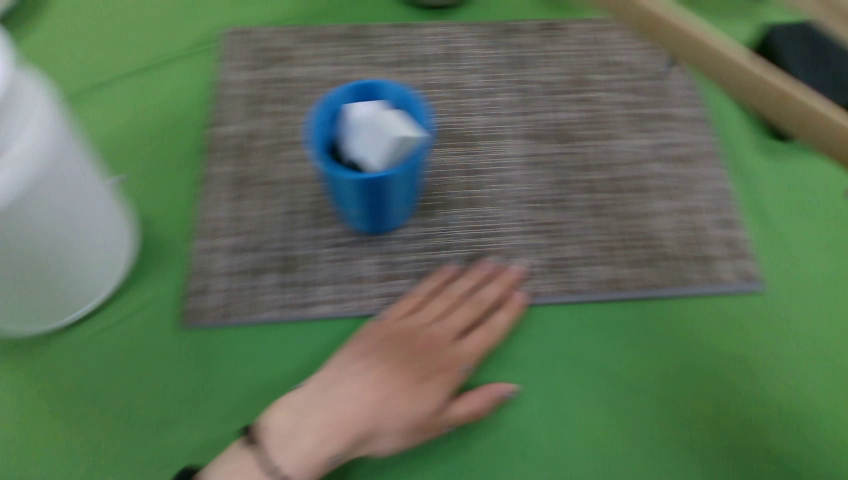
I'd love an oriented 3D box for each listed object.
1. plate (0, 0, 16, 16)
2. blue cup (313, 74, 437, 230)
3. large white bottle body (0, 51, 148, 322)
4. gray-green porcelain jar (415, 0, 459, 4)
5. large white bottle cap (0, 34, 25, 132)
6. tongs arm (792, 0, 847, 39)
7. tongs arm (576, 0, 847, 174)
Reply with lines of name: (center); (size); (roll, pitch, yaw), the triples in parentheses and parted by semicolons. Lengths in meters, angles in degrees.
plate: (-0.481, -0.249, 0.577); (0.208, 0.039, 0.206); (1, 62, -2)
blue cup: (-0.033, -0.057, 0.456); (0.092, 0.101, 0.092); (0, 62, 0)
large white bottle body: (-0.276, -0.037, 0.391); (0.131, 0.186, 0.129); (1, 62, -2)
gray-green porcelain jar: (0.013, -0.303, 0.579); (0.106, 0.127, 0.105); (1, 62, -1)
large white bottle cap: (-0.274, -0.078, 0.317); (0.115, 0.018, 0.114); (1, 62, -2)
tongs arm: (0.230, -0.101, 0.309); (0.386, 0.028, 0.028); (42, 63, 9)
tongs arm: (0.196, -0.062, 0.288); (0.384, 0.026, 0.050); (37, 65, 7)
